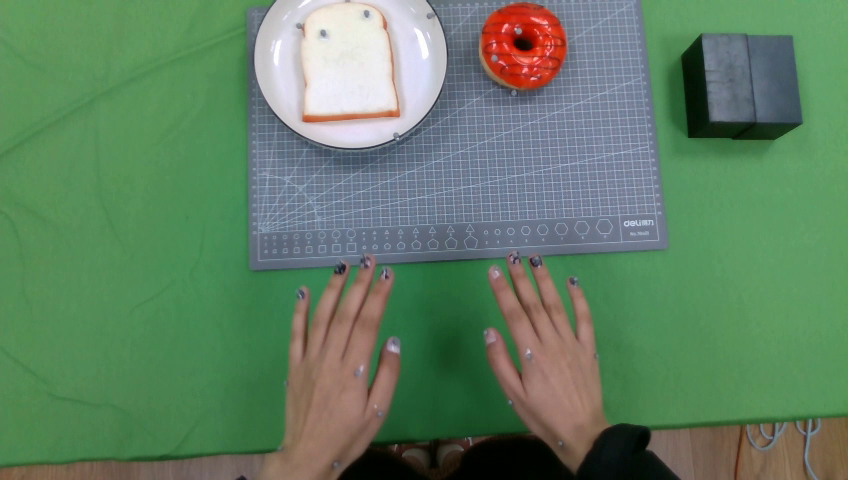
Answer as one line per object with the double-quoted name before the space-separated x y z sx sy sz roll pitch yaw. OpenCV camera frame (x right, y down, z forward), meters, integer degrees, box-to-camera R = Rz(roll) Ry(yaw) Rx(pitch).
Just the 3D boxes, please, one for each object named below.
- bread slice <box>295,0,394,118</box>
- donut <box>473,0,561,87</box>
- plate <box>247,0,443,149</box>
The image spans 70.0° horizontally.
"bread slice" -0.091 -0.199 0.660 0.105 0.019 0.131 -6 82 -4
"donut" 0.102 -0.215 0.665 0.099 0.048 0.098 1 82 -4
"plate" -0.083 -0.196 0.658 0.209 0.038 0.208 0 81 -3
